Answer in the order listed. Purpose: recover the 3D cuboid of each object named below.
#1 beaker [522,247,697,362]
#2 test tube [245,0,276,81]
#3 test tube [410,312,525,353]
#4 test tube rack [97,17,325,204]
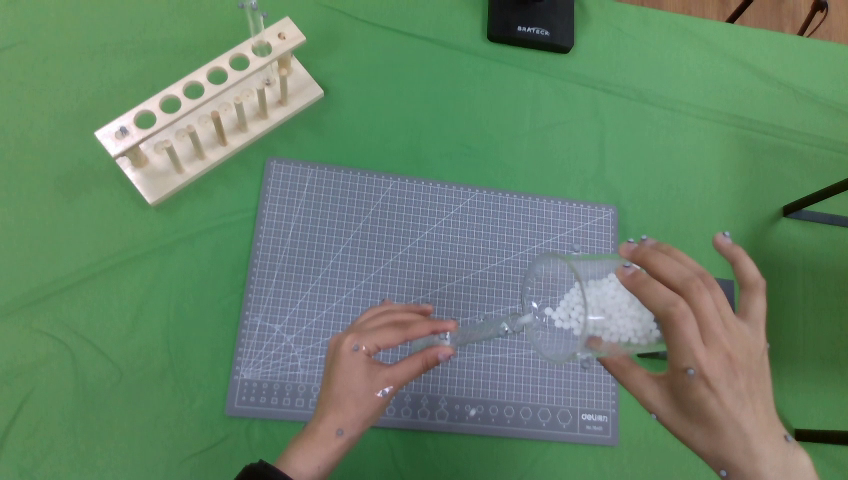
[{"bbox_3d":[0.128,0.044,0.422,0.101,0.084,0.073,0,69,-24],"label":"beaker"},{"bbox_3d":[-0.177,-0.219,0.664,0.017,0.151,0.017,2,73,-7],"label":"test tube"},{"bbox_3d":[0.030,0.078,0.500,0.017,0.150,0.017,10,70,-30],"label":"test tube"},{"bbox_3d":[-0.229,-0.146,0.688,0.242,0.085,0.066,-38,85,-17],"label":"test tube rack"}]
